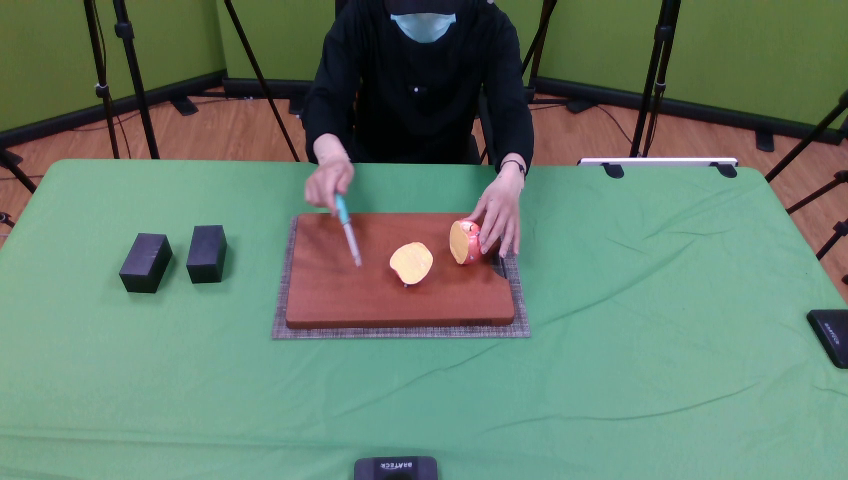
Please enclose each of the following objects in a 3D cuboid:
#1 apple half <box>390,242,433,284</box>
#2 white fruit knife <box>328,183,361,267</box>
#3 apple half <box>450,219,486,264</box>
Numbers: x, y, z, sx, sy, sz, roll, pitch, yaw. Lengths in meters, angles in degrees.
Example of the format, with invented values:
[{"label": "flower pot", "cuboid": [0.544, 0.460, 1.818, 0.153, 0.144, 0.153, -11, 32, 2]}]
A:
[{"label": "apple half", "cuboid": [-0.017, 0.045, 1.096, 0.081, 0.033, 0.081, -6, 64, 13]}, {"label": "white fruit knife", "cuboid": [-0.144, -0.032, 1.110, 0.016, 0.027, 0.206, -30, 56, 11]}, {"label": "apple half", "cuboid": [0.086, 0.003, 1.122, 0.053, 0.075, 0.080, -6, 40, -23]}]
